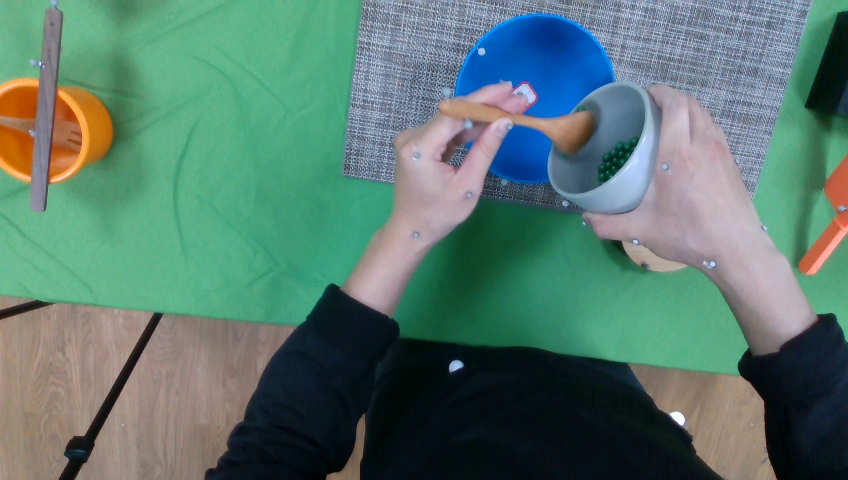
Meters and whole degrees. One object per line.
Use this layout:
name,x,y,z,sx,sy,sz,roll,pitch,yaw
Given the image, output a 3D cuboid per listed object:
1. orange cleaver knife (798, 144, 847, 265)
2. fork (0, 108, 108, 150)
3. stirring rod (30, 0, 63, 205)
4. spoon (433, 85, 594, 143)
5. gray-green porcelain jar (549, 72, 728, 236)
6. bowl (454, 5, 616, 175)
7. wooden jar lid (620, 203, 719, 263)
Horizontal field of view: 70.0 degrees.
orange cleaver knife,0.454,-0.061,0.640,0.012,0.076,0.213,3,136,-9
fork,-0.377,-0.114,0.515,0.028,0.018,0.209,-52,148,17
stirring rod,-0.324,-0.115,0.518,0.014,0.006,0.176,11,106,-11
spoon,0.076,-0.101,0.471,0.195,0.021,0.042,-1,128,-41
gray-green porcelain jar,0.189,-0.068,0.526,0.127,0.104,0.106,24,104,-29
bowl,0.098,-0.143,0.582,0.151,0.076,0.152,-1,107,-4
wooden jar lid,0.266,-0.028,0.662,0.108,0.020,0.109,-1,112,-2
